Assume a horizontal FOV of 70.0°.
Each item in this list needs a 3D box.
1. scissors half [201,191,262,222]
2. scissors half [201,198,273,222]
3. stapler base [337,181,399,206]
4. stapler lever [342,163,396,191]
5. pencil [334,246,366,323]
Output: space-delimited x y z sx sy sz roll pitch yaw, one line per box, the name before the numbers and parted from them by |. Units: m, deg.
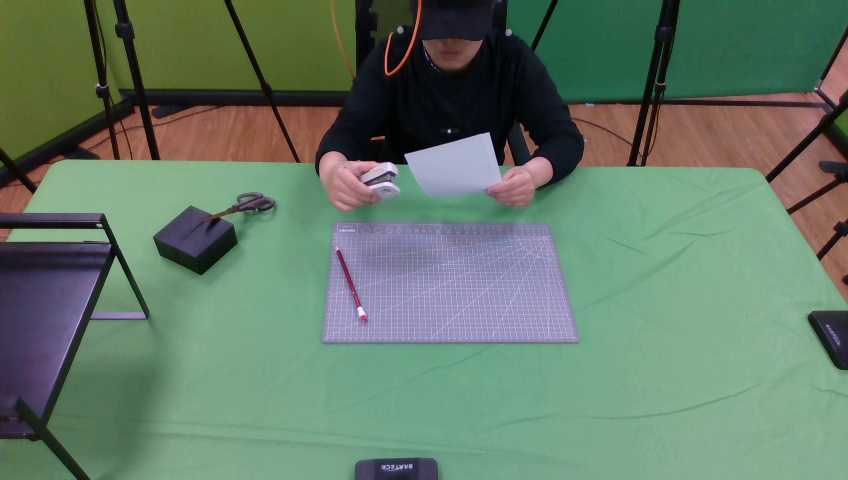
scissors half | -0.381 -0.066 1.198 0.040 0.013 0.175 24 28 10
scissors half | -0.365 -0.056 1.192 0.040 0.013 0.175 38 32 22
stapler base | -0.103 -0.091 1.119 0.130 0.041 0.024 -12 60 38
stapler lever | -0.101 -0.113 1.128 0.118 0.027 0.040 -10 62 39
pencil | -0.140 0.077 1.116 0.012 0.012 0.192 -14 48 -17
